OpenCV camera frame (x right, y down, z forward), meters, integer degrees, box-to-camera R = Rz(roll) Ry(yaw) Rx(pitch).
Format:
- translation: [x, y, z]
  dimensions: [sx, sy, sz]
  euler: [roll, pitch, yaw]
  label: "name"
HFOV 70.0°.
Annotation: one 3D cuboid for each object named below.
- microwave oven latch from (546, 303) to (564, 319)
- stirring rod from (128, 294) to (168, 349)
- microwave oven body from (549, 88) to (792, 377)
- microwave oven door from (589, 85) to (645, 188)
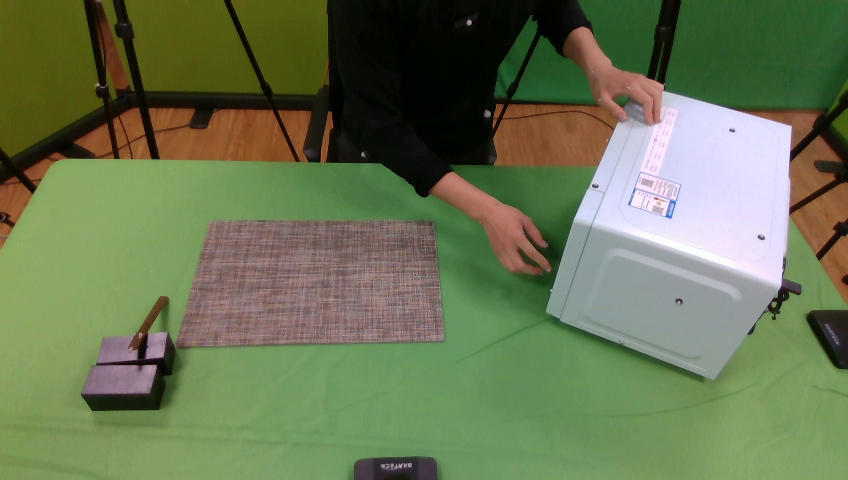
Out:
- translation: [0.242, 0.102, 1.081]
  dimensions: [0.030, 0.029, 0.079]
  euler: [22, 48, 17]
  label: "microwave oven latch"
- translation: [-0.451, 0.131, 0.996]
  dimensions: [0.014, 0.006, 0.175]
  euler: [9, 21, -10]
  label: "stirring rod"
- translation: [0.456, -0.028, 1.088]
  dimensions: [0.325, 0.261, 0.440]
  euler: [20, 47, 16]
  label: "microwave oven body"
- translation: [0.342, -0.107, 1.149]
  dimensions: [0.039, 0.245, 0.354]
  euler: [20, 48, 15]
  label: "microwave oven door"
